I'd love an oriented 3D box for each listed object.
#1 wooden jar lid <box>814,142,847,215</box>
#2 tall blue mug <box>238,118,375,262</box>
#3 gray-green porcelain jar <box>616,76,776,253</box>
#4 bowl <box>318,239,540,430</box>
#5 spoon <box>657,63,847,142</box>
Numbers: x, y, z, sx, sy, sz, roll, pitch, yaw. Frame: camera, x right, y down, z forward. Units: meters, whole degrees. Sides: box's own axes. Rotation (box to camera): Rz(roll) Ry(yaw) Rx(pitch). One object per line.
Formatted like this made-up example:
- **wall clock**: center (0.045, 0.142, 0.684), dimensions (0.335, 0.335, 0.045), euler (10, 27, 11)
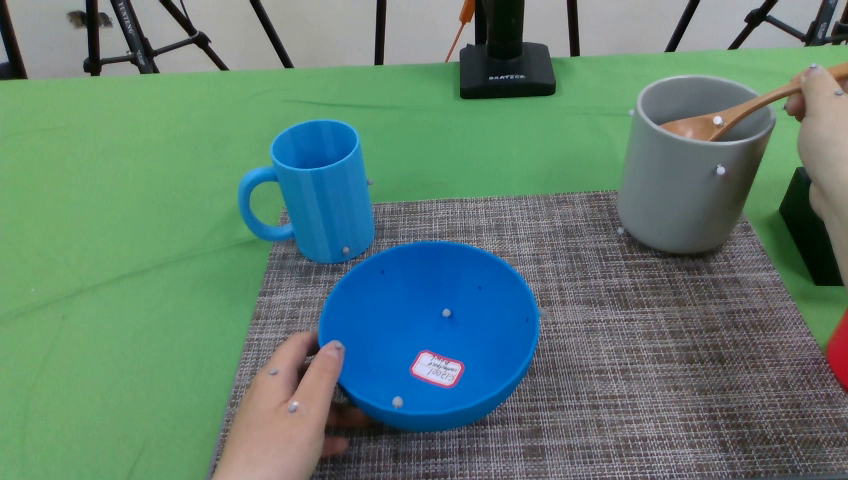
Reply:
- **wooden jar lid**: center (0.384, -0.045, 0.505), dimensions (0.108, 0.021, 0.107), euler (-3, 43, 3)
- **tall blue mug**: center (-0.100, -0.036, 0.541), dimensions (0.107, 0.109, 0.077), euler (-35, 52, -28)
- **gray-green porcelain jar**: center (0.226, -0.060, 0.525), dimensions (0.106, 0.128, 0.105), euler (-3, 44, 3)
- **bowl**: center (0.006, 0.078, 0.434), dimensions (0.151, 0.077, 0.150), euler (-2, 44, 3)
- **spoon**: center (0.264, -0.105, 0.452), dimensions (0.193, 0.022, 0.041), euler (-21, 39, 32)
